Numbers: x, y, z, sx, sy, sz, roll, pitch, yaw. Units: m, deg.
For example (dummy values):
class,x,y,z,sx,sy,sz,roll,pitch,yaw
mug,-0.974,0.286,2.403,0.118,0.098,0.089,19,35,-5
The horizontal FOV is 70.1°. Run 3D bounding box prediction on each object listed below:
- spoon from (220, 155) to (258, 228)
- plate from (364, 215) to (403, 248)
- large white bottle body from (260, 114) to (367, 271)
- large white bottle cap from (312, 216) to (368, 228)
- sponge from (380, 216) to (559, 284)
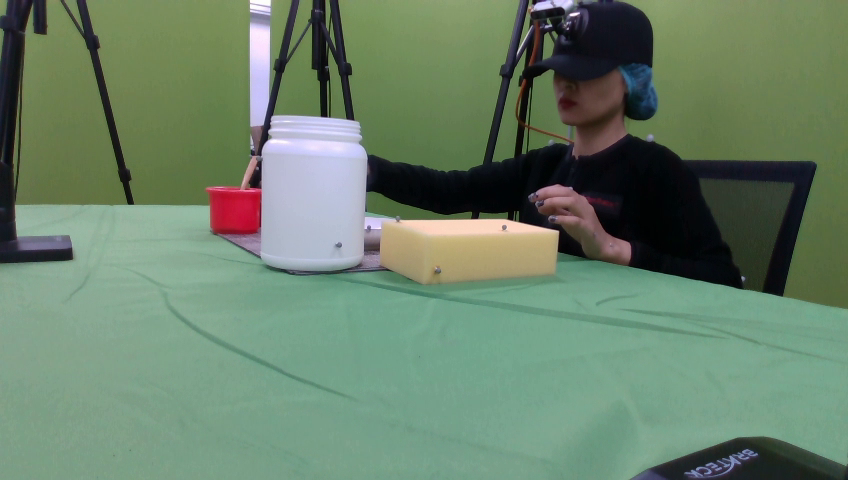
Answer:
class,x,y,z,sx,sy,sz,roll,pitch,yaw
spoon,-0.325,-0.090,1.091,0.041,0.021,0.193,3,51,3
plate,-0.122,-0.015,0.984,0.209,0.038,0.209,2,7,0
large white bottle body,-0.139,-0.062,0.763,0.131,0.184,0.130,3,8,0
large white bottle cap,-0.171,-0.038,1.233,0.115,0.018,0.115,2,5,0
sponge,0.059,0.008,0.786,0.208,0.061,0.117,-3,11,-32
